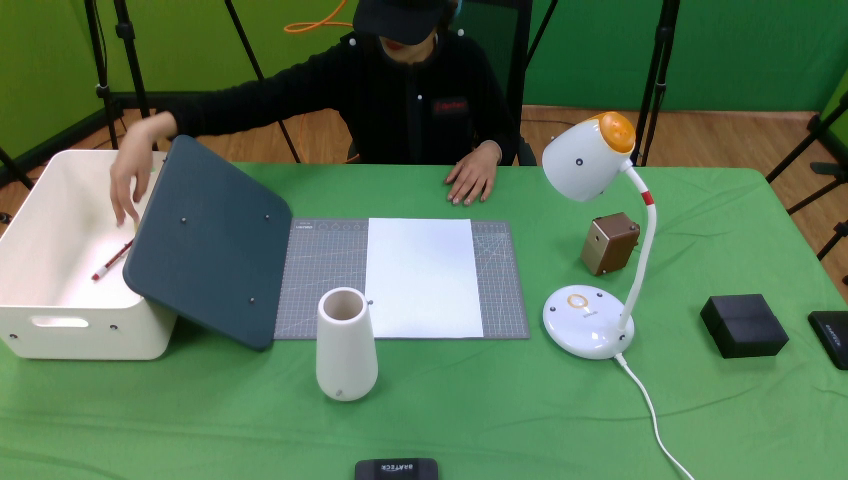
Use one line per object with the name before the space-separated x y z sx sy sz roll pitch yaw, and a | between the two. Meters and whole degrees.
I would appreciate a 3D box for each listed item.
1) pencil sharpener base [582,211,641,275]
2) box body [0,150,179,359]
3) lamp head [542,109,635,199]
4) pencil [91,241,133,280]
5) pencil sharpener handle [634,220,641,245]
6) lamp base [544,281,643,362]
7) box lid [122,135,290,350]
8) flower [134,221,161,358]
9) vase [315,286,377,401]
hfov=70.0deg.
pencil sharpener base | 0.357 0.005 1.156 0.077 0.107 0.061 -15 48 -18
box body | -0.541 0.021 1.042 0.254 0.161 0.361 1 46 -3
lamp head | 0.253 -0.131 0.893 0.113 0.123 0.112 10 66 -24
pencil | -0.551 0.006 1.145 0.012 0.012 0.193 21 50 16
pencil sharpener handle | 0.405 -0.015 1.161 0.031 0.068 0.035 -15 44 -17
lamp base | 0.303 0.095 1.014 0.161 0.181 0.178 -24 54 -24
box lid | -0.356 -0.006 1.059 0.015 0.265 0.369 -33 39 27
flower | -0.508 0.071 1.093 0.044 0.038 0.359 -41 45 8
vase | -0.119 0.159 0.911 0.098 0.201 0.097 2 47 -2
